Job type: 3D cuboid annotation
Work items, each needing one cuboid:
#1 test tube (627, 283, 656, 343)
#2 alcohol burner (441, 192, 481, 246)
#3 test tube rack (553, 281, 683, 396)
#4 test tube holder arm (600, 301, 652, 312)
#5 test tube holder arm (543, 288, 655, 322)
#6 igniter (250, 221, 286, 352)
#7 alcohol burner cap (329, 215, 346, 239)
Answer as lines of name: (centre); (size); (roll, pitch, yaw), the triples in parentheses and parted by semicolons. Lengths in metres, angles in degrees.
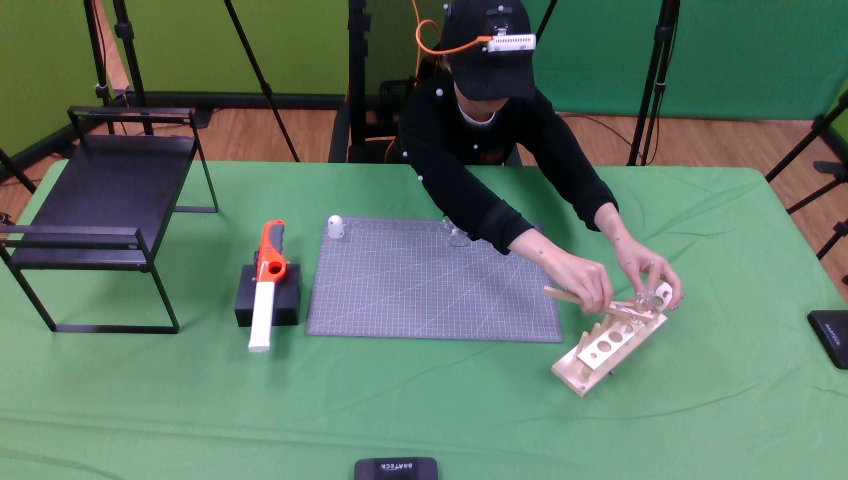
test tube: (0.350, 0.122, 0.985); (0.017, 0.151, 0.017); (0, 47, 1)
alcohol burner: (0.074, -0.046, 1.175); (0.078, 0.119, 0.077); (2, 44, -2)
test tube rack: (0.329, 0.153, 1.022); (0.242, 0.085, 0.066); (-30, 55, -28)
test tube holder arm: (0.324, 0.107, 0.978); (0.088, 0.015, 0.010); (4, 40, -11)
test tube holder arm: (0.280, 0.103, 0.971); (0.178, 0.015, 0.013); (13, 38, 0)
igniter: (-0.269, 0.068, 1.041); (0.057, 0.025, 0.274); (0, 48, -7)
alcohol burner cap: (-0.172, -0.028, 1.192); (0.034, 0.048, 0.033); (1, 47, -1)
